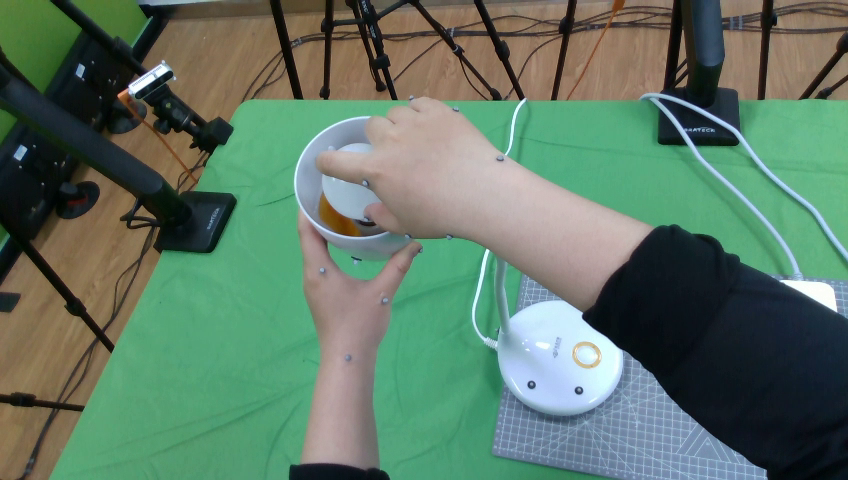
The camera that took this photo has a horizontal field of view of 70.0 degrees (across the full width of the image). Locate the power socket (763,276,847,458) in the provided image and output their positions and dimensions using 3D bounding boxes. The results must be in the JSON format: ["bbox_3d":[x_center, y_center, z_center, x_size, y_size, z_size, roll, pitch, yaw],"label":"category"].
[{"bbox_3d":[0.457,0.143,0.727,0.072,0.033,0.225,4,58,15],"label":"power socket"}]

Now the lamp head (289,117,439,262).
[{"bbox_3d":[-0.044,-0.029,0.530,0.112,0.124,0.111,-3,66,8],"label":"lamp head"}]

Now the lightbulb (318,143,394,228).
[{"bbox_3d":[-0.051,-0.038,0.501,0.059,0.108,0.059,-2,70,5],"label":"lightbulb"}]

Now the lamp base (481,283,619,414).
[{"bbox_3d":[0.144,0.108,0.738,0.178,0.182,0.159,-2,57,17],"label":"lamp base"}]
